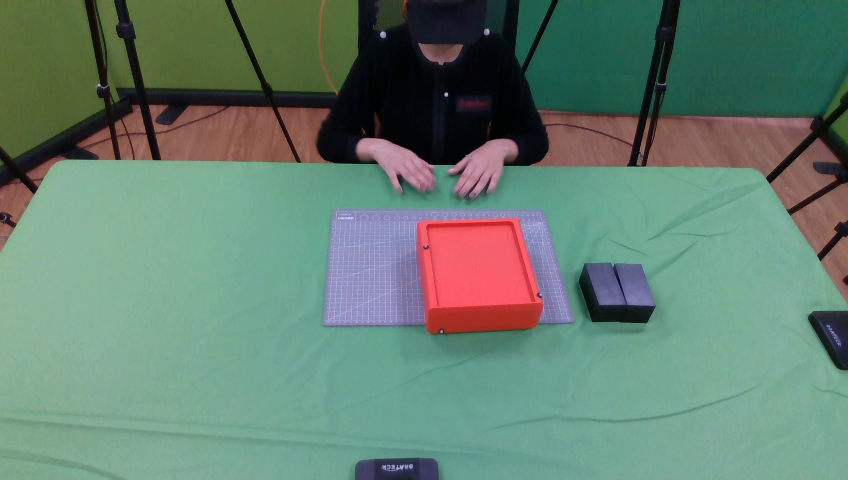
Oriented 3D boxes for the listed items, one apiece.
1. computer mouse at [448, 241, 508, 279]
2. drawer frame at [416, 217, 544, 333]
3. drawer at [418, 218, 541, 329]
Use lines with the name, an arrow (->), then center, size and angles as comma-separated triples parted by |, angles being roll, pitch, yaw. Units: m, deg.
computer mouse -> 0.102, 0.037, 1.130 | 0.117, 0.041, 0.062 | 11, 43, -13
drawer frame -> 0.094, 0.058, 1.104 | 0.202, 0.083, 0.212 | -2, 47, -7
drawer -> 0.094, 0.057, 1.107 | 0.195, 0.073, 0.210 | -1, 47, -6
